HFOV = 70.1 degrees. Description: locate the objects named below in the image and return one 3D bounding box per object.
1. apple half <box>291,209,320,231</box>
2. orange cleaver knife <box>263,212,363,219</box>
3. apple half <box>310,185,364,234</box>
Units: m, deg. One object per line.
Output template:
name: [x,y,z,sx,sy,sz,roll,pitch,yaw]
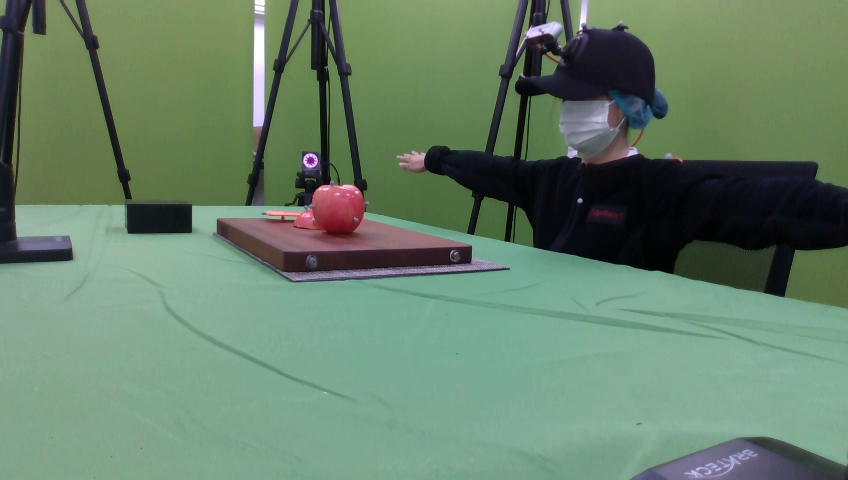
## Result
apple half: [-0.178,-0.036,0.980,0.081,0.033,0.081,5,9,0]
orange cleaver knife: [-0.192,-0.045,1.097,0.212,0.012,0.077,0,5,-38]
apple half: [-0.123,-0.045,0.906,0.081,0.074,0.053,2,10,-42]
